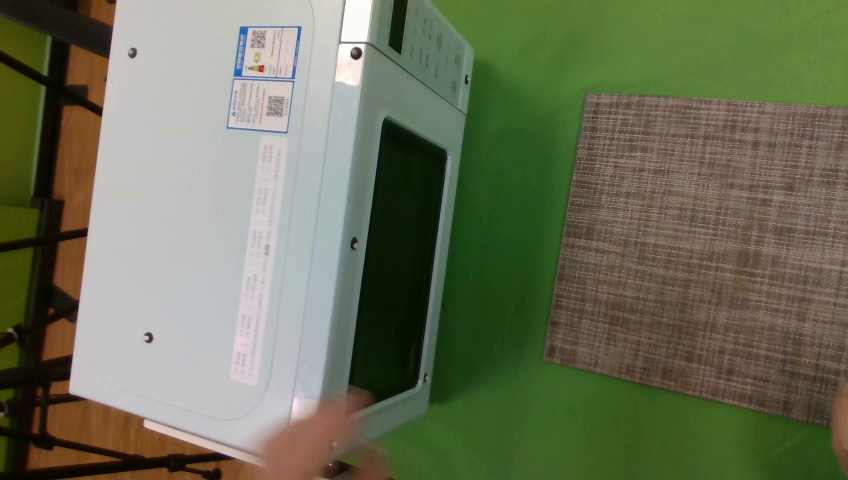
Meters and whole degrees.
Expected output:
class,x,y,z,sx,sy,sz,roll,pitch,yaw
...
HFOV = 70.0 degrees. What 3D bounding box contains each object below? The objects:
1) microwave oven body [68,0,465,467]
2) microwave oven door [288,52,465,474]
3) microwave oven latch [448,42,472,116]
class,x,y,z,sx,sy,sz,roll,pitch,yaw
microwave oven body,-0.161,-0.034,0.670,0.324,0.261,0.441,8,91,23
microwave oven door,-0.036,0.025,0.608,0.039,0.245,0.355,7,90,24
microwave oven latch,0.036,-0.185,0.698,0.030,0.029,0.079,9,92,23
